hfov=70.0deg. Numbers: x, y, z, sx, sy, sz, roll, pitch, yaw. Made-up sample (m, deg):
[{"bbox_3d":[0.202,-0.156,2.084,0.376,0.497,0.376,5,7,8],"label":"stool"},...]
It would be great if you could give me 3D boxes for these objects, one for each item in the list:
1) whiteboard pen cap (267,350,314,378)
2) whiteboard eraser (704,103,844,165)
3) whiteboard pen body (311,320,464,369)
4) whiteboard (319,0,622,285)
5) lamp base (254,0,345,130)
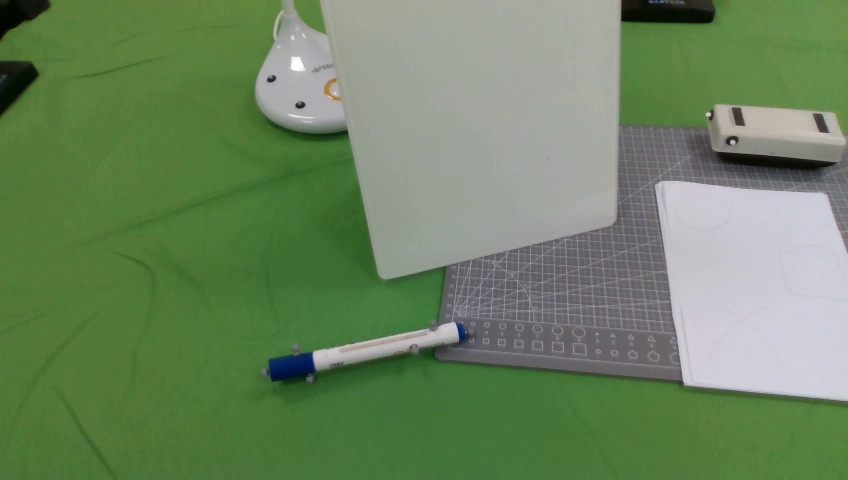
[{"bbox_3d":[-0.097,0.090,0.442,0.033,0.018,0.018,-10,48,-11],"label":"whiteboard pen cap"},{"bbox_3d":[0.331,-0.101,0.578,0.112,0.042,0.055,7,50,9],"label":"whiteboard eraser"},{"bbox_3d":[-0.039,0.080,0.451,0.141,0.017,0.017,-11,48,-8],"label":"whiteboard pen body"},{"bbox_3d":[0.031,-0.150,0.503,0.217,0.308,0.142,-13,29,-7],"label":"whiteboard"},{"bbox_3d":[-0.123,-0.235,0.633,0.160,0.182,0.177,-34,52,-25],"label":"lamp base"}]
